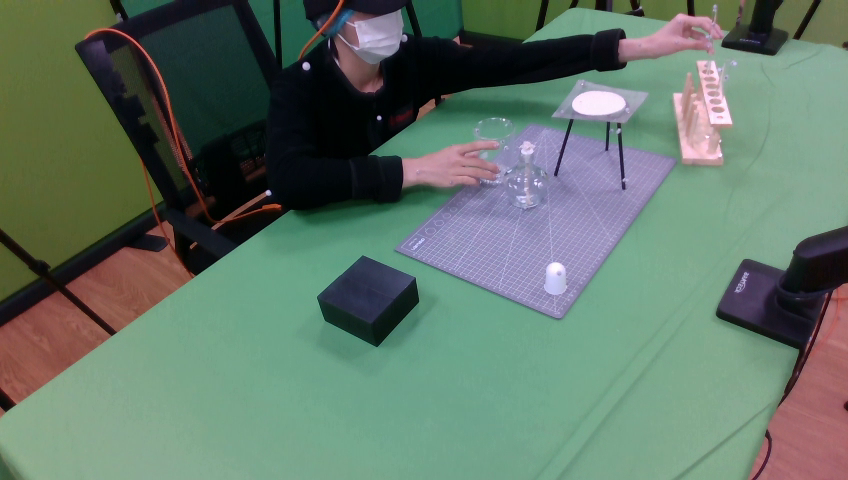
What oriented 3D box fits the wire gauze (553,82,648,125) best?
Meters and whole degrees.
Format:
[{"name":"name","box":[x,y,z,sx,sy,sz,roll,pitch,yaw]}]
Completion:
[{"name":"wire gauze","box":[0.293,-0.225,1.002,0.120,0.011,0.125,17,45,27]}]

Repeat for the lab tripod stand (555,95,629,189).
[{"name":"lab tripod stand","box":[0.301,-0.174,1.045,0.148,0.132,0.147,-5,38,5]}]

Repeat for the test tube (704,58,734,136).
[{"name":"test tube","box":[0.516,-0.247,1.062,0.017,0.151,0.017,-3,43,4]}]

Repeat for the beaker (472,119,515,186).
[{"name":"beaker","box":[0.128,-0.155,1.077,0.073,0.101,0.084,27,51,34]}]

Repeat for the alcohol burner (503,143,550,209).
[{"name":"alcohol burner","box":[0.171,-0.111,1.006,0.078,0.119,0.077,-3,41,3]}]

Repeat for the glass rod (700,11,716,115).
[{"name":"glass rod","box":[0.526,-0.324,1.123,0.008,0.200,0.008,-7,37,6]}]

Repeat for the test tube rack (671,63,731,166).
[{"name":"test tube rack","box":[0.513,-0.240,1.132,0.066,0.085,0.242,4,41,14]}]

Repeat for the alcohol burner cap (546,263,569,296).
[{"name":"alcohol burner cap","box":[0.191,0.053,0.862,0.034,0.048,0.033,-5,40,4]}]
